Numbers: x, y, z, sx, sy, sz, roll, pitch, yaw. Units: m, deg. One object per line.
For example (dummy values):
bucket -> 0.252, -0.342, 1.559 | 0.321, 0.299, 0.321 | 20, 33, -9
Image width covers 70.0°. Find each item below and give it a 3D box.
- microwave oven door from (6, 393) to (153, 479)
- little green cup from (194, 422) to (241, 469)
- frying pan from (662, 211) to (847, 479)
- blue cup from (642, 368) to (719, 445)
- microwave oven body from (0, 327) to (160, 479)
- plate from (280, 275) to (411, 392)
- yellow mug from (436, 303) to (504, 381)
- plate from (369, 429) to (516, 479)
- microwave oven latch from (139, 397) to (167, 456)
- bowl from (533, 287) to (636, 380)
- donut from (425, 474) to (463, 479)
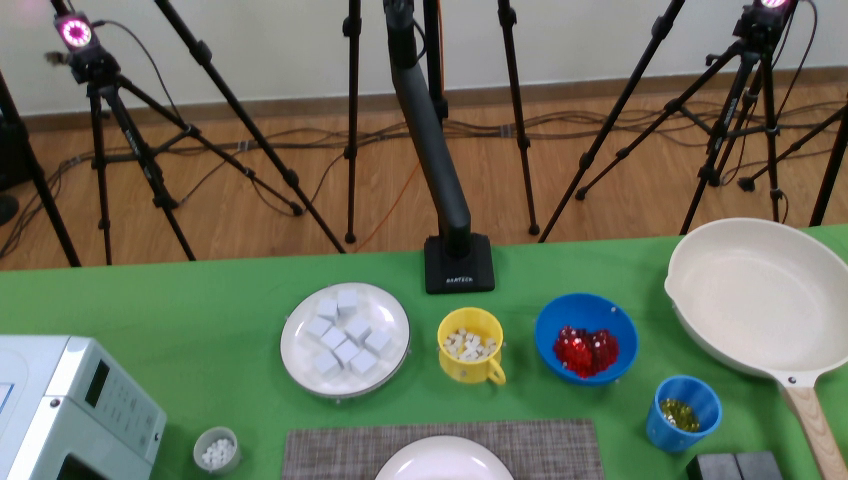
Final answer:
microwave oven door -> -0.414, 0.380, 0.662 | 0.039, 0.246, 0.352 | 0, 52, 4
little green cup -> -0.293, 0.297, 0.869 | 0.061, 0.039, 0.061 | -2, 53, 3
frying pan -> 0.520, 0.156, 0.888 | 0.306, 0.104, 0.483 | 1, 44, 6
blue cup -> 0.345, 0.238, 0.838 | 0.092, 0.101, 0.091 | -1, 53, 1
microwave oven body -> -0.557, 0.350, 0.700 | 0.326, 0.262, 0.437 | 0, 53, 3
plate -> -0.124, 0.151, 0.974 | 0.207, 0.039, 0.205 | -2, 52, 2
yellow mug -> 0.079, 0.165, 0.933 | 0.100, 0.064, 0.129 | -33, 58, -21
plate -> 0.024, 0.356, 0.801 | 0.209, 0.038, 0.207 | -2, 53, 2
microwave oven latch -> -0.397, 0.269, 0.875 | 0.030, 0.030, 0.078 | 2, 53, 5
bowl -> 0.238, 0.154, 0.924 | 0.151, 0.077, 0.150 | -2, 53, 3
donut -> 0.025, 0.356, 0.787 | 0.099, 0.049, 0.098 | -2, 56, 4
